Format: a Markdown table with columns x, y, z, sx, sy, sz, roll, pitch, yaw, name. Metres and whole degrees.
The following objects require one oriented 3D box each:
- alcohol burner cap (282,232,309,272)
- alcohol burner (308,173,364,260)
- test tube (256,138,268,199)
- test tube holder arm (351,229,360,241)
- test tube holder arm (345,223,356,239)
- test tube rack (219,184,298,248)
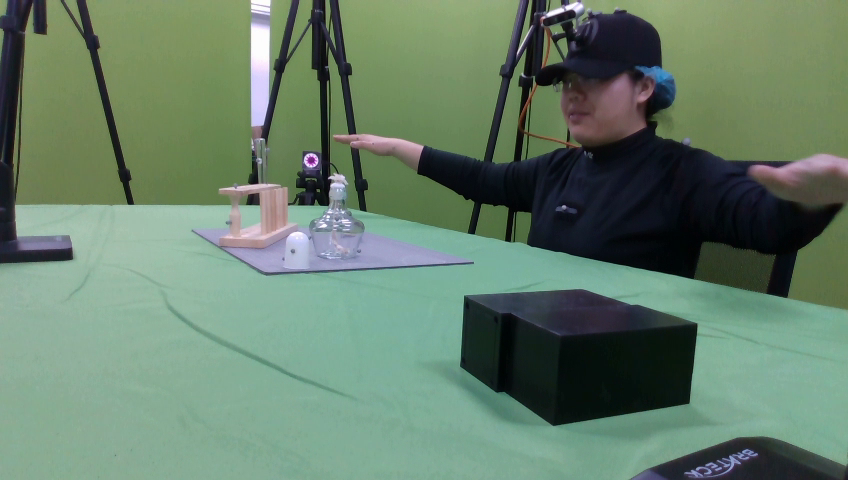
| x | y | z | sx | sy | sz | roll | pitch | yaw | name |
| --- | --- | --- | --- | --- | --- | --- | --- | --- | --- |
| -0.157 | 0.014 | 0.740 | 0.034 | 0.048 | 0.034 | 2 | 6 | 0 | alcohol burner cap |
| -0.121 | -0.033 | 0.841 | 0.078 | 0.119 | 0.078 | 3 | 5 | 0 | alcohol burner |
| -0.284 | -0.105 | 1.066 | 0.017 | 0.150 | 0.017 | -1 | 9 | 0 | test tube |
| -0.120 | -0.010 | 1.040 | 0.010 | 0.015 | 0.087 | 35 | 0 | -11 | test tube holder arm |
| -0.132 | -0.018 | 1.083 | 0.013 | 0.015 | 0.178 | 35 | 0 | -12 | test tube holder arm |
| -0.266 | -0.046 | 1.002 | 0.067 | 0.085 | 0.242 | 3 | 7 | 0 | test tube rack |
